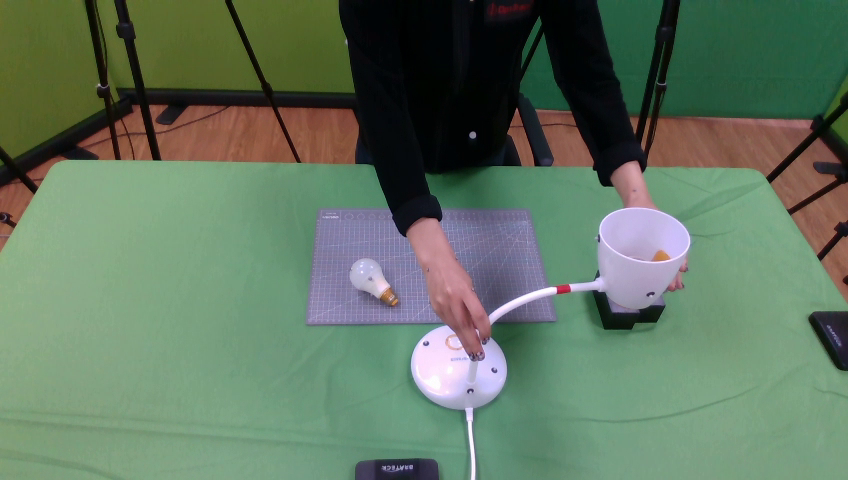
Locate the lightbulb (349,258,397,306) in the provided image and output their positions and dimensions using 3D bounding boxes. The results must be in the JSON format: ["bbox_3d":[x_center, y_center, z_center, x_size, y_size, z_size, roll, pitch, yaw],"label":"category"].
[{"bbox_3d":[-0.090,0.078,1.095,0.107,0.060,0.059,43,56,12],"label":"lightbulb"}]

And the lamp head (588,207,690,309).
[{"bbox_3d":[0.280,0.034,0.810,0.112,0.123,0.111,2,40,-2],"label":"lamp head"}]

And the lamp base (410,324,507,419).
[{"bbox_3d":[0.065,0.162,0.939,0.161,0.181,0.178,-9,50,-12],"label":"lamp base"}]
